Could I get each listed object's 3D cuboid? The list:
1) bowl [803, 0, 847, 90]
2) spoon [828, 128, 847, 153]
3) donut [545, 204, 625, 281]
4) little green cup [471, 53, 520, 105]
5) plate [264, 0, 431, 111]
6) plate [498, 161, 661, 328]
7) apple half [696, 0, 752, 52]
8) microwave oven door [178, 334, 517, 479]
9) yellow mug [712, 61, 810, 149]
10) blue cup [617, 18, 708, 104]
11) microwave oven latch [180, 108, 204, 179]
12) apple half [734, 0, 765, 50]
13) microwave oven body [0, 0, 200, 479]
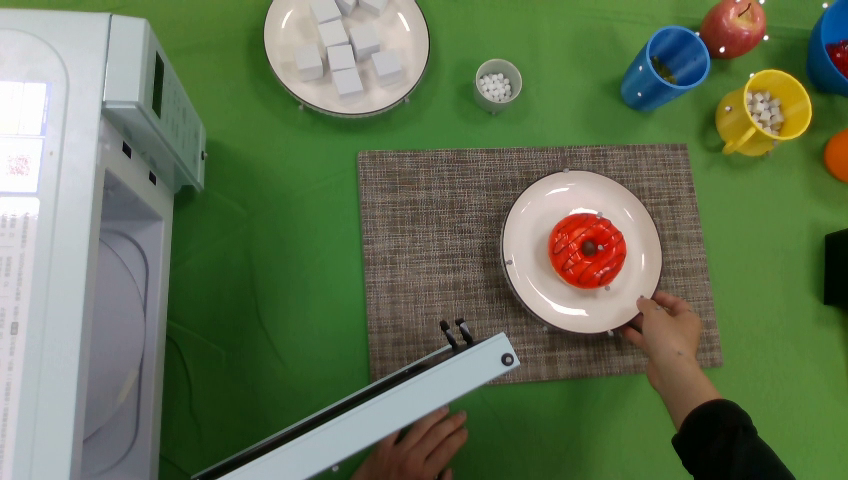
[{"bbox_3d":[0.599,-0.271,0.856,0.152,0.077,0.151,1,80,-7],"label":"bowl"},{"bbox_3d":[0.636,-0.114,0.795,0.041,0.191,0.022,-46,132,-13],"label":"spoon"},{"bbox_3d":[0.198,0.003,0.750,0.099,0.048,0.098,1,79,-6],"label":"donut"},{"bbox_3d":[0.091,-0.208,0.791,0.062,0.039,0.061,2,78,-7],"label":"little green cup"},{"bbox_3d":[-0.096,-0.258,0.774,0.208,0.039,0.206,2,79,-8],"label":"plate"},{"bbox_3d":[0.192,0.006,0.759,0.209,0.038,0.208,2,79,-7],"label":"plate"},{"bbox_3d":[0.408,-0.304,0.838,0.053,0.075,0.080,2,82,-4],"label":"apple half"},{"bbox_3d":[-0.101,0.179,0.565,0.356,0.244,0.039,-25,82,-12],"label":"microwave oven door"},{"bbox_3d":[0.447,-0.172,0.821,0.100,0.064,0.130,44,78,1],"label":"yellow mug"},{"bbox_3d":[0.303,-0.225,0.793,0.093,0.100,0.092,1,80,-8],"label":"blue cup"},{"bbox_3d":[-0.271,-0.112,0.701,0.030,0.029,0.079,2,79,-8],"label":"microwave oven latch"},{"bbox_3d":[0.448,-0.302,0.841,0.033,0.081,0.081,3,78,-5],"label":"apple half"},{"bbox_3d":[-0.401,0.042,0.553,0.327,0.260,0.440,0,80,-9],"label":"microwave oven body"}]
